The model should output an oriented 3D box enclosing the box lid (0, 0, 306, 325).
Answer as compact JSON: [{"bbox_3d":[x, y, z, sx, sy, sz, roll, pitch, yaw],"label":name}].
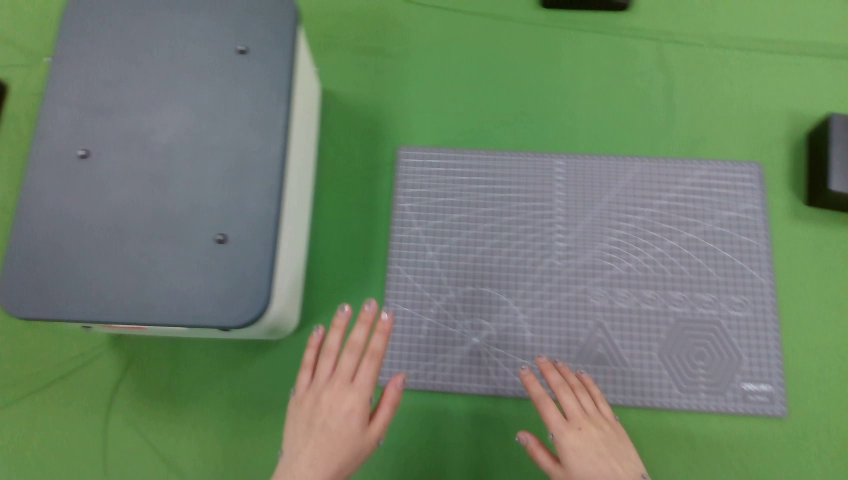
[{"bbox_3d":[-0.264,-0.102,0.611,0.263,0.015,0.369,2,74,3],"label":"box lid"}]

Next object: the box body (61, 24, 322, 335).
[{"bbox_3d":[-0.261,-0.079,0.681,0.254,0.161,0.362,2,74,3],"label":"box body"}]

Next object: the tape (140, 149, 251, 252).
[{"bbox_3d":[-0.271,-0.046,0.722,0.117,0.053,0.116,-1,71,4],"label":"tape"}]
